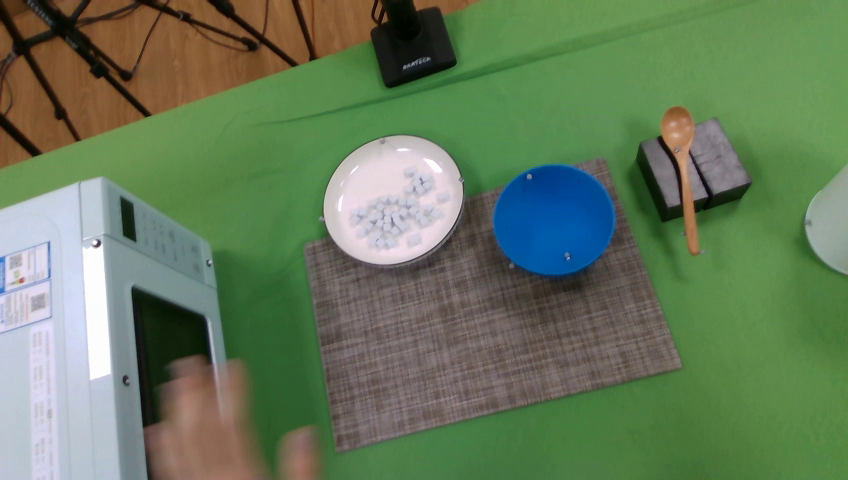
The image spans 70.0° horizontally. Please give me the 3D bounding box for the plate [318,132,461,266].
[{"bbox_3d":[-0.048,-0.057,0.867,0.209,0.038,0.207,-4,68,11],"label":"plate"}]

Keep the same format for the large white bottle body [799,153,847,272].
[{"bbox_3d":[0.517,-0.048,0.669,0.130,0.186,0.129,-4,70,11],"label":"large white bottle body"}]

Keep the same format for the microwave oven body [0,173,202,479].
[{"bbox_3d":[-0.446,0.202,0.742,0.326,0.262,0.438,-18,69,5],"label":"microwave oven body"}]

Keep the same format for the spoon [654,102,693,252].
[{"bbox_3d":[0.319,-0.081,0.761,0.041,0.022,0.192,-3,76,6],"label":"spoon"}]

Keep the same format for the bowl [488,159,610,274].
[{"bbox_3d":[0.162,-0.020,0.788,0.151,0.077,0.150,-4,71,11],"label":"bowl"}]

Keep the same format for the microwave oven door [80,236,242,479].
[{"bbox_3d":[-0.298,0.194,0.709,0.039,0.246,0.353,-18,69,6],"label":"microwave oven door"}]

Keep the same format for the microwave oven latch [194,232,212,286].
[{"bbox_3d":[-0.331,0.030,0.880,0.030,0.030,0.078,-18,70,5],"label":"microwave oven latch"}]
